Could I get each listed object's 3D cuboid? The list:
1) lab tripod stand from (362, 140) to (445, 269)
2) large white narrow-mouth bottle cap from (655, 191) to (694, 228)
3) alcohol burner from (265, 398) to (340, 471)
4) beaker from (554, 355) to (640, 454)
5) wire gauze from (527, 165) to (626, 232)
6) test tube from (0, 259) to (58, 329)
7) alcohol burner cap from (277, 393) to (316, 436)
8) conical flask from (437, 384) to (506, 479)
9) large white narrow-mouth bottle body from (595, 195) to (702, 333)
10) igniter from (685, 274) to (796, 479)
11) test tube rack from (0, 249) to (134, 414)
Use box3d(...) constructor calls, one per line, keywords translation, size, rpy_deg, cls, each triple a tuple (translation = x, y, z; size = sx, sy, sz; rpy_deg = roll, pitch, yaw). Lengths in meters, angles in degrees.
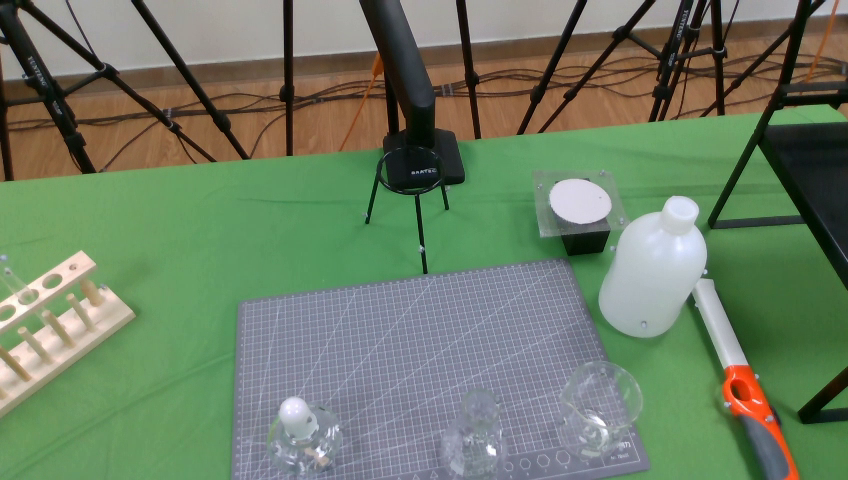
box3d(translation=(-0.019, -0.055, 0.822), size=(0.148, 0.132, 0.147), rpy_deg=(1, 52, -1), cls="lab tripod stand")
box3d(translation=(0.270, -0.034, 0.655), size=(0.038, 0.024, 0.037), rpy_deg=(0, 51, 0), cls="large white narrow-mouth bottle cap")
box3d(translation=(-0.128, 0.193, 0.629), size=(0.078, 0.120, 0.077), rpy_deg=(1, 49, -1), cls="alcohol burner")
box3d(translation=(0.178, 0.181, 0.650), size=(0.084, 0.101, 0.073), rpy_deg=(-3, 50, -1), cls="beaker")
box3d(translation=(0.210, -0.061, 0.845), size=(0.121, 0.011, 0.124), rpy_deg=(-1, 51, -1), cls="wire gauze")
box3d(translation=(-0.460, 0.061, 0.692), size=(0.017, 0.151, 0.017), rpy_deg=(1, 53, -1), cls="test tube")
box3d(translation=(-0.128, 0.171, 0.601), size=(0.034, 0.048, 0.033), rpy_deg=(-3, 51, 4), cls="alcohol burner cap")
box3d(translation=(0.052, 0.192, 0.626), size=(0.075, 0.123, 0.074), rpy_deg=(0, 51, 1), cls="conical flask")
box3d(translation=(0.271, 0.022, 0.721), size=(0.102, 0.196, 0.101), rpy_deg=(0, 51, 1), cls="large white narrow-mouth bottle body")
box3d(translation=(0.369, 0.155, 0.722), size=(0.057, 0.025, 0.273), rpy_deg=(3, 50, -10), cls="igniter")
box3d(translation=(-0.477, 0.124, 0.705), size=(0.066, 0.086, 0.242), rpy_deg=(34, 58, 24), cls="test tube rack")
